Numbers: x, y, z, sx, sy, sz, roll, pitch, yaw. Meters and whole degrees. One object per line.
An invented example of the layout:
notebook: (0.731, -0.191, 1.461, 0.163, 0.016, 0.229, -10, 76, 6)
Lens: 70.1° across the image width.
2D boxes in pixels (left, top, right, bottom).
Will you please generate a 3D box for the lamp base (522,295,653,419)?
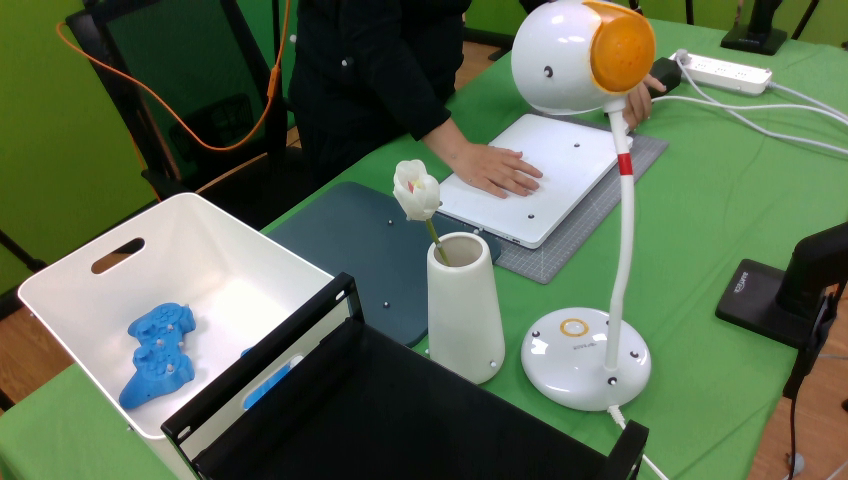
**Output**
lamp base: (0.201, 0.095, 0.709, 0.161, 0.181, 0.178, -16, 43, -10)

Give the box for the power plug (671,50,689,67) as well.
power plug: (0.541, -0.379, 1.302, 0.073, 0.053, 0.035, -30, 47, -22)

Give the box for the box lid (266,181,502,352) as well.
box lid: (-0.086, 0.023, 0.971, 0.368, 0.015, 0.264, 23, 50, 31)

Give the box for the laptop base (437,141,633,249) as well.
laptop base: (0.194, -0.117, 1.087, 0.233, 0.023, 0.355, 21, 48, 34)

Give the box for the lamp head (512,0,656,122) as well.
lamp head: (0.156, -0.168, 0.563, 0.113, 0.113, 0.122, -18, 23, -12)

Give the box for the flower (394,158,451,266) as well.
flower: (0.028, 0.036, 0.664, 0.043, 0.364, 0.038, 36, 73, 30)

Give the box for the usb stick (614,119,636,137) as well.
usb stick: (0.382, -0.207, 1.157, 0.059, 0.027, 0.021, -35, 39, -30)

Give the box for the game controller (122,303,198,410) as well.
game controller: (-0.363, 0.149, 0.828, 0.097, 0.052, 0.154, -14, 42, -9)

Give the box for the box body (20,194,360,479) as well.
box body: (-0.287, 0.118, 0.772, 0.361, 0.161, 0.255, 26, 50, 33)

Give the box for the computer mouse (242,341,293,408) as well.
computer mouse: (-0.200, 0.177, 0.776, 0.063, 0.041, 0.116, -11, 43, -8)

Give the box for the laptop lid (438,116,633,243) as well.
laptop lid: (0.190, -0.126, 1.081, 0.239, 0.013, 0.358, 23, 49, 35)

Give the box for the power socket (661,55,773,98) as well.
power socket: (0.620, -0.352, 1.289, 0.225, 0.033, 0.072, 26, 51, 33)

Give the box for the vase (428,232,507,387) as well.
vase: (0.051, 0.087, 0.728, 0.098, 0.201, 0.097, -3, 40, 3)
